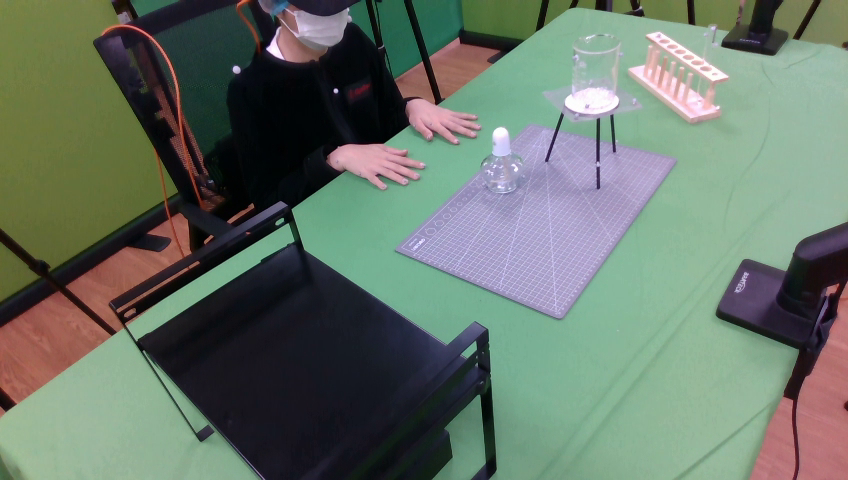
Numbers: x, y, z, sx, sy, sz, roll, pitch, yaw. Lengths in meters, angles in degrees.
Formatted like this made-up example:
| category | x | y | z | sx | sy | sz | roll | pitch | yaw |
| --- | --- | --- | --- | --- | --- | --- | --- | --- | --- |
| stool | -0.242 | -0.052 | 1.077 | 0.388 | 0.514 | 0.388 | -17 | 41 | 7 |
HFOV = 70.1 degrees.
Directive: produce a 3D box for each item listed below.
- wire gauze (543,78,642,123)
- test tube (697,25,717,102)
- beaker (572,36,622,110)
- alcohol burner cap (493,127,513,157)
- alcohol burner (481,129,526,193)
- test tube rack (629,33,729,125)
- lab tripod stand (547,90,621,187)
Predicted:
| category | x | y | z | sx | sy | sz | roll | pitch | yaw |
| --- | --- | --- | --- | --- | --- | --- | --- | --- | --- |
| wire gauze | 0.282 | -0.234 | 1.022 | 0.125 | 0.011 | 0.120 | -17 | 38 | -4 |
| test tube | 0.546 | -0.337 | 1.166 | 0.017 | 0.151 | 0.017 | -5 | 36 | 4 |
| beaker | 0.279 | -0.273 | 0.992 | 0.074 | 0.101 | 0.083 | -14 | 40 | -5 |
| alcohol burner cap | 0.132 | -0.169 | 1.030 | 0.034 | 0.048 | 0.033 | -6 | 36 | 5 |
| alcohol burner | 0.138 | -0.142 | 1.052 | 0.078 | 0.119 | 0.077 | -5 | 42 | 5 |
| test tube rack | 0.516 | -0.337 | 1.248 | 0.067 | 0.085 | 0.240 | -14 | 41 | -7 |
| lab tripod stand | 0.289 | -0.184 | 1.062 | 0.148 | 0.132 | 0.147 | -6 | 41 | 6 |
